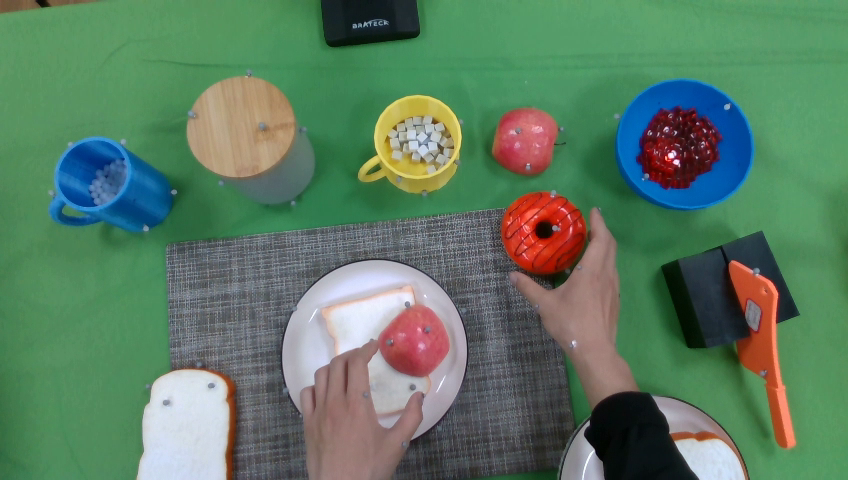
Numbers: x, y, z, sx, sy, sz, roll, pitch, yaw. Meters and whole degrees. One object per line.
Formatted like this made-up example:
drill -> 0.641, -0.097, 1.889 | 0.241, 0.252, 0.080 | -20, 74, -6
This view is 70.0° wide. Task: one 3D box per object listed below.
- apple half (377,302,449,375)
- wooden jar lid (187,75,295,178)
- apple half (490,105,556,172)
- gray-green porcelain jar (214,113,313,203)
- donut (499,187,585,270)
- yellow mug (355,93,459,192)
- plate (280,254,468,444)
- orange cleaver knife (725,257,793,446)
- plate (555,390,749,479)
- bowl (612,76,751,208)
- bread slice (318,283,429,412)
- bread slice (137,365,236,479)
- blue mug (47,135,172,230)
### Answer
apple half -> -0.010, 0.109, 0.662 | 0.081, 0.033, 0.081 | 0, 79, -1
wooden jar lid -> -0.185, -0.114, 0.618 | 0.108, 0.021, 0.108 | 0, 79, 1
apple half -> 0.119, -0.126, 0.719 | 0.074, 0.053, 0.080 | 16, 81, 6
gray-green porcelain jar -> -0.184, -0.102, 0.679 | 0.106, 0.127, 0.105 | 0, 80, 0
donut -> 0.135, -0.013, 0.700 | 0.099, 0.048, 0.098 | 0, 81, 0
yellow mug -> -0.023, -0.105, 0.709 | 0.131, 0.064, 0.099 | -30, 81, -4
plate -> -0.055, 0.121, 0.682 | 0.208, 0.039, 0.207 | 0, 81, 0
orange cleaver knife -> 0.364, 0.122, 0.661 | 0.012, 0.077, 0.212 | -18, 102, -9
plate -> 0.243, 0.268, 0.660 | 0.209, 0.038, 0.208 | 0, 80, 0
bowl -> 0.284, -0.103, 0.701 | 0.151, 0.077, 0.151 | 0, 81, 1
bread slice -> -0.049, 0.124, 0.681 | 0.107, 0.018, 0.134 | -17, 83, -3
bread slice -> -0.265, 0.207, 0.679 | 0.105, 0.019, 0.131 | 1, 82, 0
blue mug -> -0.360, -0.052, 0.681 | 0.116, 0.106, 0.082 | -32, 81, -5
